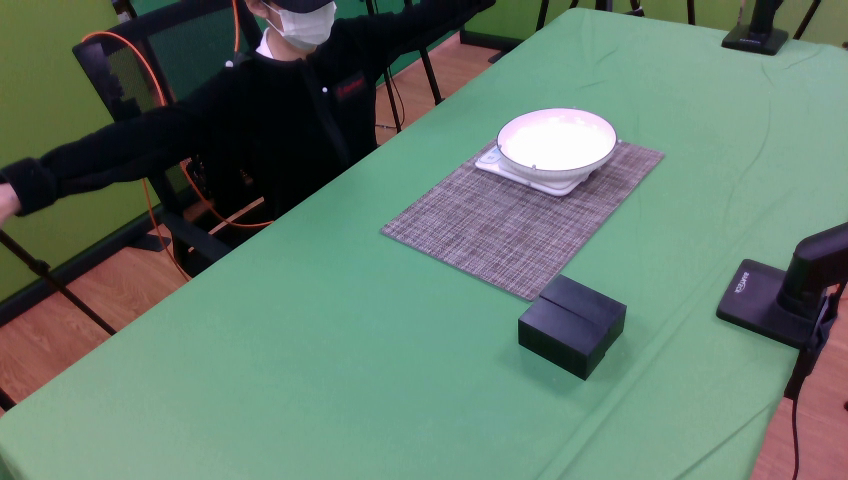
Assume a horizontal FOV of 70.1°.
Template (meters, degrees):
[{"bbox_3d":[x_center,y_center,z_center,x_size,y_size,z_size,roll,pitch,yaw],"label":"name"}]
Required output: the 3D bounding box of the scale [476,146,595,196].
[{"bbox_3d":[0.209,-0.148,1.105,0.199,0.032,0.149,26,50,34],"label":"scale"}]

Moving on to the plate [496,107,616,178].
[{"bbox_3d":[0.232,-0.169,1.074,0.207,0.039,0.206,-5,41,5],"label":"plate"}]
